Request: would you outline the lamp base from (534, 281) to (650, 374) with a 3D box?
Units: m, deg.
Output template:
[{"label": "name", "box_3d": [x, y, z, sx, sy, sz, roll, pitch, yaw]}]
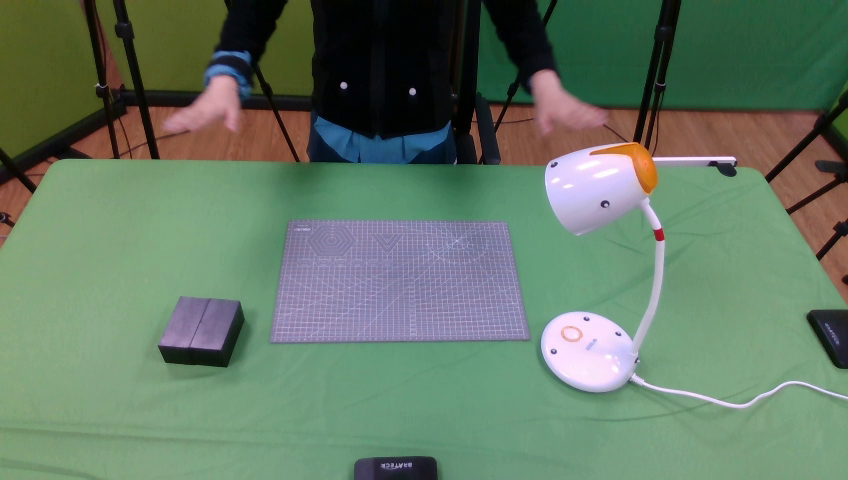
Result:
[{"label": "lamp base", "box_3d": [0.287, 0.113, 1.000, 0.179, 0.181, 0.160, 13, 47, 5]}]

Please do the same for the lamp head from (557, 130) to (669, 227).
[{"label": "lamp head", "box_3d": [0.251, -0.085, 0.784, 0.123, 0.113, 0.112, -20, 38, 29]}]

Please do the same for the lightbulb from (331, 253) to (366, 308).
[{"label": "lightbulb", "box_3d": [-0.131, 0.074, 1.094, 0.059, 0.060, 0.107, -15, 65, -18]}]
